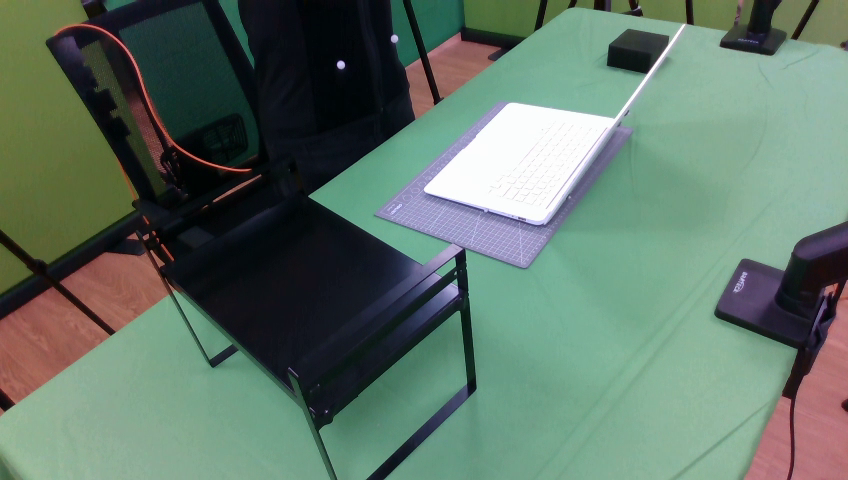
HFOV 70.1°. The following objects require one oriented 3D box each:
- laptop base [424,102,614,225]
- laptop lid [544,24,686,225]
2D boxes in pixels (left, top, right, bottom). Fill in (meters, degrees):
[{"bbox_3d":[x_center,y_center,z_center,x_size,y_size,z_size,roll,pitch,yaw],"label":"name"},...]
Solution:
[{"bbox_3d":[0.188,-0.156,1.131,0.234,0.023,0.355,16,46,30],"label":"laptop base"},{"bbox_3d":[0.315,-0.191,0.987,0.013,0.241,0.357,35,51,9],"label":"laptop lid"}]
